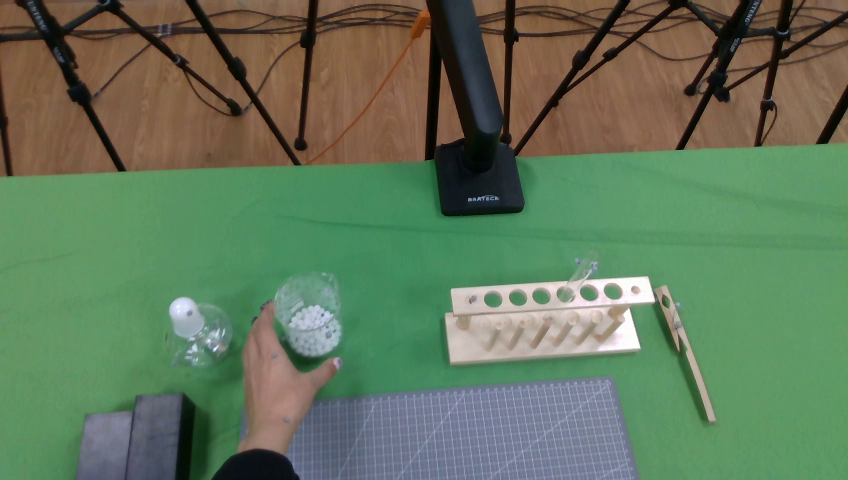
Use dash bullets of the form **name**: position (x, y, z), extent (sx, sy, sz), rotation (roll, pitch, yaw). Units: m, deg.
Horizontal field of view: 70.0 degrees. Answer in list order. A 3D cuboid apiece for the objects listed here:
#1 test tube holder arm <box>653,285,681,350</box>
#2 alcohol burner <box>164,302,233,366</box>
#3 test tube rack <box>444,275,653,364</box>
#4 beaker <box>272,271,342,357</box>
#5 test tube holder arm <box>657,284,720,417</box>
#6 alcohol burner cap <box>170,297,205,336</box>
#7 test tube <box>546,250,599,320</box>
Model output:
- **test tube holder arm**: position (0.322, 0.101, 0.795), extent (0.010, 0.015, 0.087), rotation (-26, 60, 23)
- **alcohol burner**: position (-0.264, 0.100, 0.696), extent (0.078, 0.120, 0.077), rotation (1, 59, -1)
- **test tube rack**: position (0.151, 0.098, 0.744), extent (0.243, 0.086, 0.066), rotation (-3, 61, -6)
- **beaker**: position (-0.133, 0.090, 0.720), extent (0.073, 0.101, 0.083), rotation (32, 62, 13)
- **test tube holder arm**: position (0.336, 0.137, 0.773), extent (0.013, 0.015, 0.176), rotation (-27, 60, 22)
- **alcohol burner cap**: position (-0.261, 0.081, 0.665), extent (0.034, 0.048, 0.033), rotation (5, 54, -6)
- **test tube**: position (0.171, 0.057, 0.712), extent (0.017, 0.151, 0.017), rotation (4, 56, -6)
